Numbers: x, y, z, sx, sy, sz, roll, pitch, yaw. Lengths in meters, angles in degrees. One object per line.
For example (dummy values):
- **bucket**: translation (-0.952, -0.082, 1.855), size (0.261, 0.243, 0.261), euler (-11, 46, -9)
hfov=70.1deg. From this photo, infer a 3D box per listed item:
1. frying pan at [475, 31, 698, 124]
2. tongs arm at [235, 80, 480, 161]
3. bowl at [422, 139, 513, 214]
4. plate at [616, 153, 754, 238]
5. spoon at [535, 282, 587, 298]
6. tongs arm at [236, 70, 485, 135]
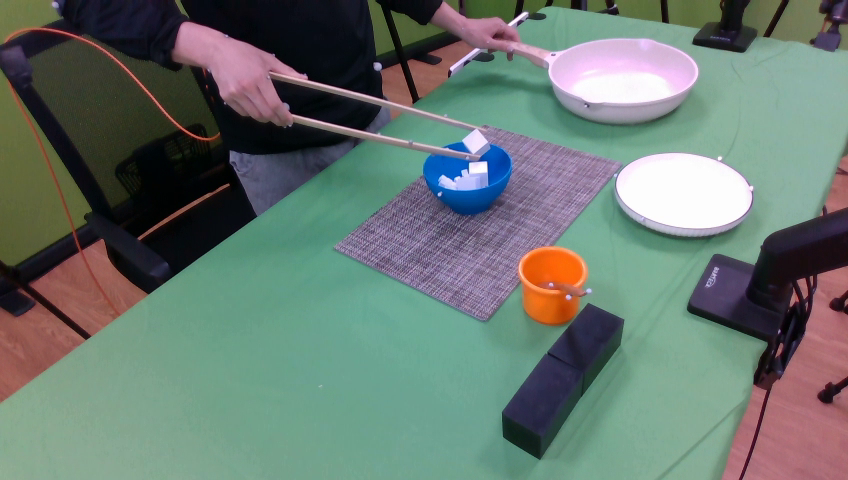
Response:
- **frying pan**: translation (0.320, -0.371, 1.290), size (0.485, 0.103, 0.307), euler (28, 50, 23)
- **tongs arm**: translation (-0.097, -0.182, 0.937), size (0.386, 0.026, 0.050), euler (9, 82, -11)
- **bowl**: translation (0.075, -0.097, 1.021), size (0.151, 0.077, 0.150), euler (-4, 41, 4)
- **plate**: translation (0.416, -0.069, 0.977), size (0.207, 0.039, 0.206), euler (-4, 40, 4)
- **spoon**: translation (0.176, 0.063, 0.774), size (0.041, 0.194, 0.021), euler (-3, 85, 0)
- **tongs arm**: translation (-0.091, -0.210, 0.942), size (0.389, 0.028, 0.027), euler (11, -5, -11)
